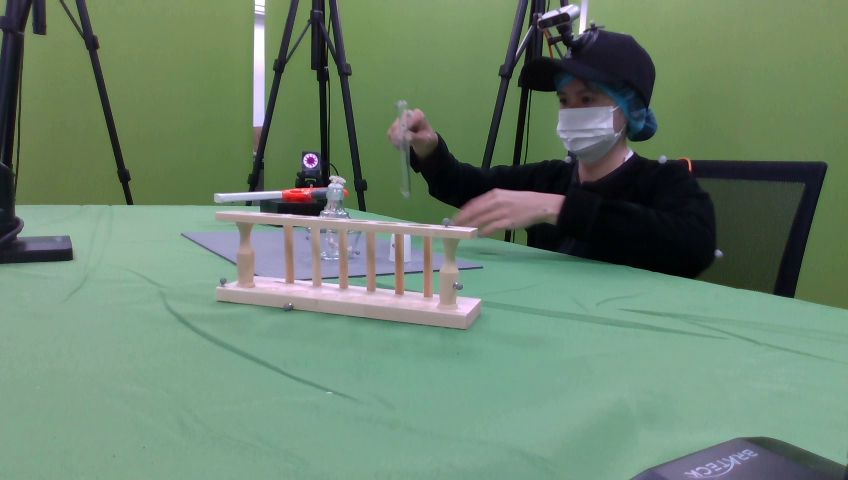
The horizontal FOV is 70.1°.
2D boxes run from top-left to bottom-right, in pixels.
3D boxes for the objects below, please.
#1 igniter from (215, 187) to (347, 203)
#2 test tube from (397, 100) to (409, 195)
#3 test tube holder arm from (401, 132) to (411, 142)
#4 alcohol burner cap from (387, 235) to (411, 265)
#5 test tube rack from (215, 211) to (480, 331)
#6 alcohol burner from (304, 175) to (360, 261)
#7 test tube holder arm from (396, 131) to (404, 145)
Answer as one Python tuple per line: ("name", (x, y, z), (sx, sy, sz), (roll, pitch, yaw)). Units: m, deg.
("igniter", (-0.293, -0.095, 1.267), (0.278, 0.025, 0.057), (-6, 12, -34))
("test tube", (-0.033, -0.148, 0.963), (0.017, 0.150, 0.017), (-2, 5, 0))
("test tube holder arm", (-0.032, -0.168, 0.986), (0.010, 0.015, 0.087), (4, 6, -9))
("alcohol burner cap", (-0.035, 0.009, 0.839), (0.034, 0.048, 0.034), (2, 6, 0))
("test tube rack", (-0.071, 0.022, 0.565), (0.242, 0.085, 0.067), (5, 7, 16))
("alcohol burner", (-0.126, -0.031, 0.838), (0.078, 0.119, 0.078), (3, 5, 0))
("test tube holder arm", (-0.040, -0.173, 1.030), (0.013, 0.015, 0.178), (5, 6, -2))
